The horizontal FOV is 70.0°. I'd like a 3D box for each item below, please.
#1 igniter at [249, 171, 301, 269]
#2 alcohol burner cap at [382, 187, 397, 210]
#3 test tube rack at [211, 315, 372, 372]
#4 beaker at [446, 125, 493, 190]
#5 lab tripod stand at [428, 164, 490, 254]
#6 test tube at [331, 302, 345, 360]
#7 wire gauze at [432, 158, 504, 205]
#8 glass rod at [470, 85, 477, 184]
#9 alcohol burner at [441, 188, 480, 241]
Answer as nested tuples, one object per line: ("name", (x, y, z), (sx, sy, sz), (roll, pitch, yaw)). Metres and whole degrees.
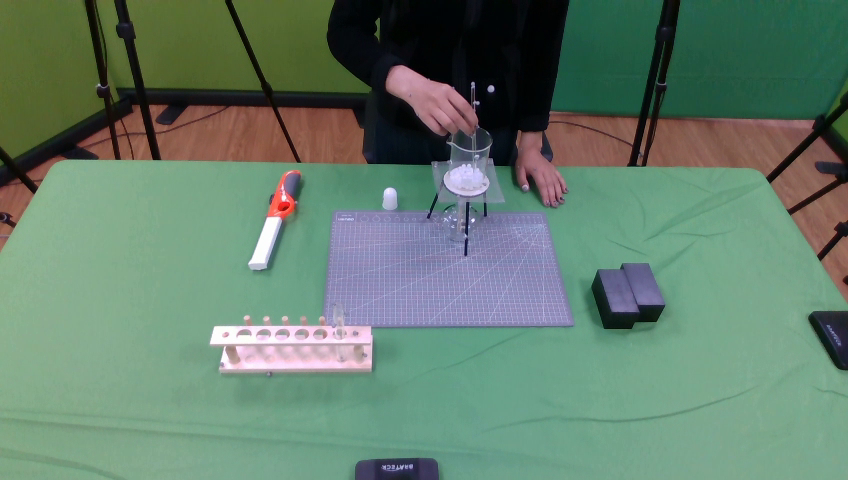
("igniter", (-0.297, -0.049, 1.220), (0.057, 0.025, 0.275), (-2, 45, 9))
("alcohol burner cap", (-0.072, -0.090, 1.266), (0.034, 0.048, 0.033), (3, 47, -3))
("test tube rack", (-0.207, 0.164, 0.982), (0.242, 0.085, 0.066), (1, 46, -4))
("beaker", (0.079, -0.147, 1.106), (0.084, 0.101, 0.073), (-3, 47, -6))
("lab tripod stand", (0.078, -0.068, 1.188), (0.148, 0.132, 0.147), (3, 47, -3))
("test tube", (-0.132, 0.144, 0.938), (0.017, 0.151, 0.017), (2, 49, -3))
("wire gauze", (0.081, -0.111, 1.138), (0.125, 0.011, 0.120), (0, 48, -7))
("glass rod", (0.088, -0.180, 1.065), (0.008, 0.201, 0.008), (-4, 41, 3))
("alcohol burner", (0.073, -0.055, 1.189), (0.078, 0.120, 0.077), (1, 48, -1))
